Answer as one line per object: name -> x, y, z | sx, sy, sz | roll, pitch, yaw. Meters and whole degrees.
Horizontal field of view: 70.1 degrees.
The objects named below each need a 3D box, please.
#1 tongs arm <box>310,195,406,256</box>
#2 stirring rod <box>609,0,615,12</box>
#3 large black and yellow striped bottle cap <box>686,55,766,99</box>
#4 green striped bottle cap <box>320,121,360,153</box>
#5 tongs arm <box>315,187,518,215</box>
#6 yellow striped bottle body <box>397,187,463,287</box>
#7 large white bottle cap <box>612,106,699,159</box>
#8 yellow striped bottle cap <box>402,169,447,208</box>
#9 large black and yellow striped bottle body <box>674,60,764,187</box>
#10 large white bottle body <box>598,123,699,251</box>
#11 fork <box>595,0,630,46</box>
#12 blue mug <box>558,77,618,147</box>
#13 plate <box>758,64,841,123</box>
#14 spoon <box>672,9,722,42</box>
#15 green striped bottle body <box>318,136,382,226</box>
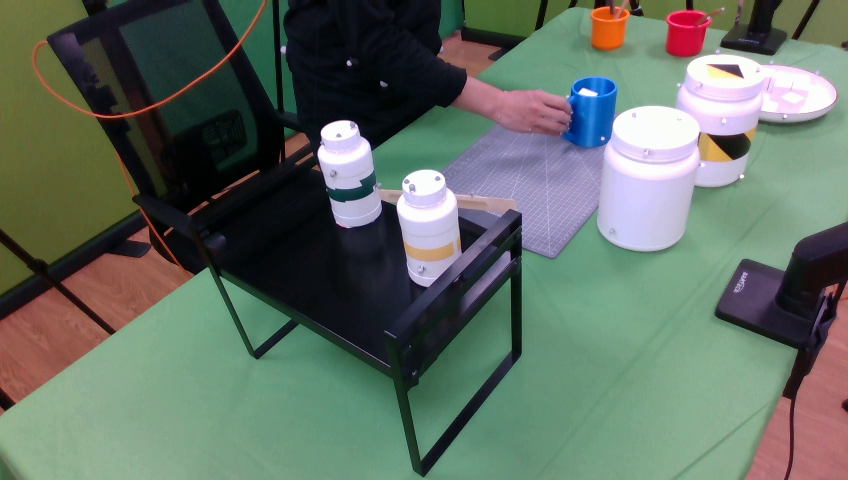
tongs arm -> -0.078, -0.013, 0.944 | 0.028, 0.028, 0.384 | -42, 39, -23
stirring rod -> 0.347, -0.519, 1.132 | 0.006, 0.176, 0.014 | -15, 20, -14
large black and yellow striped bottle cap -> 0.474, -0.258, 0.952 | 0.115, 0.019, 0.114 | -5, 41, 5
green striped bottle cap -> -0.097, -0.120, 0.699 | 0.044, 0.020, 0.044 | -4, 39, 3
tongs arm -> -0.028, -0.060, 0.988 | 0.382, 0.027, 0.051 | 10, 45, 36
yellow striped bottle body -> 0.006, -0.013, 0.638 | 0.063, 0.121, 0.062 | -5, 41, 4
large white bottle cap -> 0.325, -0.153, 0.850 | 0.115, 0.018, 0.114 | -4, 41, 4
yellow striped bottle cap -> 0.000, -0.052, 0.605 | 0.044, 0.019, 0.044 | -5, 43, 5
large black and yellow striped bottle body -> 0.482, -0.196, 1.008 | 0.131, 0.185, 0.130 | -4, 41, 4
large white bottle body -> 0.334, -0.090, 0.906 | 0.130, 0.185, 0.130 | -5, 41, 5
fork -> 0.480, -0.556, 1.453 | 0.028, 0.019, 0.207 | 41, 104, 42
blue mug -> 0.304, -0.237, 1.139 | 0.117, 0.106, 0.081 | -21, 42, -14
plate -> 0.694, -0.283, 1.189 | 0.207, 0.039, 0.206 | -4, 40, 4
spoon -> 0.606, -0.476, 1.345 | 0.042, 0.021, 0.193 | -6, -3, -2
green striped bottle body -> -0.090, -0.080, 0.733 | 0.063, 0.120, 0.063 | -5, 41, 4
